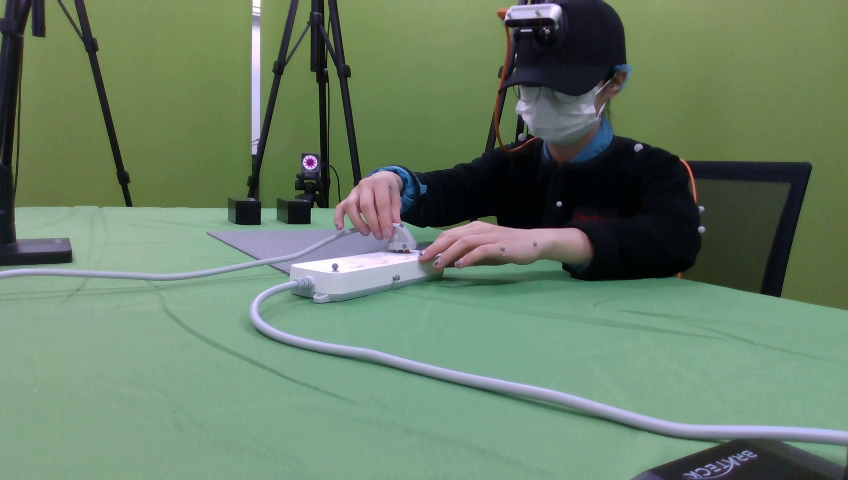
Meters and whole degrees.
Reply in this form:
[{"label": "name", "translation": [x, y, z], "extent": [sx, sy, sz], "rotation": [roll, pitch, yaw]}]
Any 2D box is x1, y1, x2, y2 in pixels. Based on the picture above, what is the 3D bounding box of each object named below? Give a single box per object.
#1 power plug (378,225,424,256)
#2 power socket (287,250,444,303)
[{"label": "power plug", "translation": [-0.025, 0.009, 0.729], "extent": [0.053, 0.035, 0.072], "rotation": [6, 27, -23]}, {"label": "power socket", "translation": [-0.058, 0.035, 0.688], "extent": [0.072, 0.032, 0.228], "rotation": [6, 8, 34]}]
